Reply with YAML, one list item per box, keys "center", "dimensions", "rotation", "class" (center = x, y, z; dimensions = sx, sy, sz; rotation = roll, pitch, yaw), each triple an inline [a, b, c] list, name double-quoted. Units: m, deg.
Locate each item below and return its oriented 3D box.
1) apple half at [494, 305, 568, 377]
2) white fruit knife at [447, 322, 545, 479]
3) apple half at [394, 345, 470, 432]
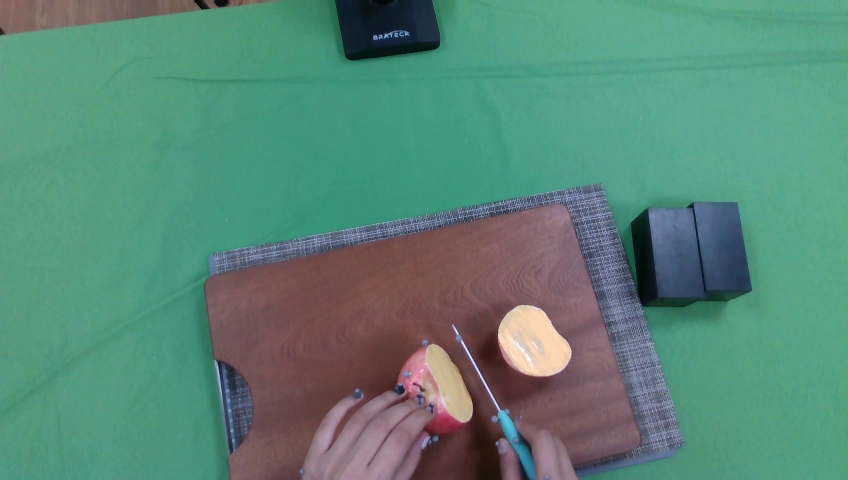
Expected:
- center: [0.101, 0.107, 0.609]
  dimensions: [0.081, 0.033, 0.080]
  rotation: [12, 53, -15]
  class: "apple half"
- center: [0.072, 0.169, 0.574]
  dimensions: [0.016, 0.027, 0.206]
  rotation: [-29, 78, -4]
  class: "white fruit knife"
- center: [0.003, 0.146, 0.576]
  dimensions: [0.053, 0.075, 0.080]
  rotation: [-32, 72, 17]
  class: "apple half"
